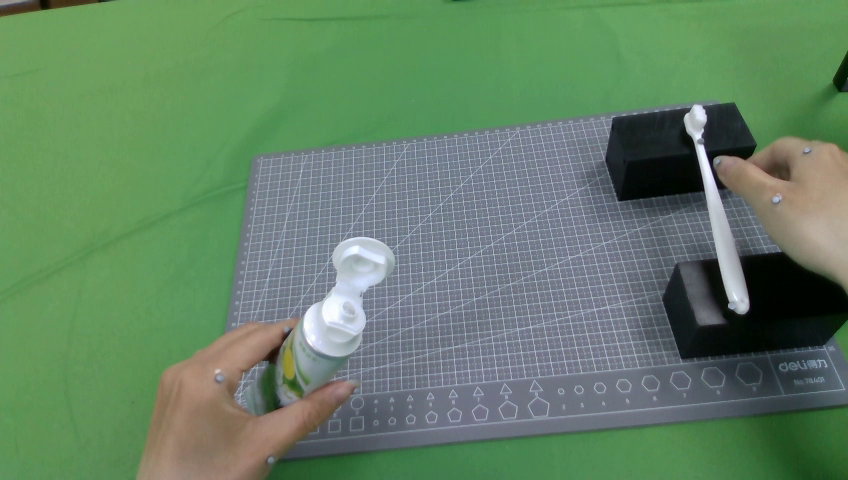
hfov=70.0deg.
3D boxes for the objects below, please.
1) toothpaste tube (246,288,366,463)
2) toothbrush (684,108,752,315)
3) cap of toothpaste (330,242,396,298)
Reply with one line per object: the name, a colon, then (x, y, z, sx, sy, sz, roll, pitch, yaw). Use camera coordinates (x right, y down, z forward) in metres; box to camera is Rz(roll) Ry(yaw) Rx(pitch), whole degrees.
toothpaste tube: (-0.080, 0.082, 0.375, 0.035, 0.165, 0.054, 7, 49, -34)
toothbrush: (0.210, -0.028, 0.435, 0.014, 0.017, 0.180, 6, 56, -1)
cap of toothpaste: (-0.034, 0.017, 0.330, 0.037, 0.038, 0.011, -4, 40, 5)
